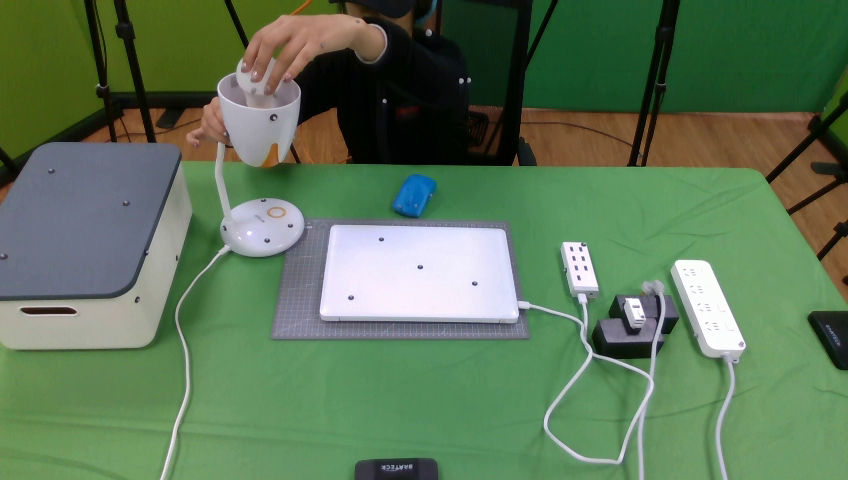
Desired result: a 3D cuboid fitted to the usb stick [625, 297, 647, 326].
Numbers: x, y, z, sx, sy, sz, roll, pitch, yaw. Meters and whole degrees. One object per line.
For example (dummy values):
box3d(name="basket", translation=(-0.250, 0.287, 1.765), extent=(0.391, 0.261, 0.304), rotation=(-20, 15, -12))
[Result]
box3d(name="usb stick", translation=(0.360, 0.116, 1.034), extent=(0.021, 0.027, 0.059), rotation=(-2, 44, -2))

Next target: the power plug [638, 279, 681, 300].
box3d(name="power plug", translation=(0.434, 0.099, 1.119), extent=(0.073, 0.053, 0.035), rotation=(34, 38, -16))

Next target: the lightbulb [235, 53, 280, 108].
box3d(name="lightbulb", translation=(-0.231, -0.208, 0.844), extent=(0.059, 0.108, 0.059), rotation=(8, 47, -8))

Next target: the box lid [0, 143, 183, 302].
box3d(name="box lid", translation=(-0.567, -0.045, 0.999), extent=(0.263, 0.015, 0.369), rotation=(-1, 46, -4))

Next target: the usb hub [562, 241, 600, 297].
box3d(name="usb hub", translation=(0.300, 0.054, 1.162), extent=(0.049, 0.025, 0.124), rotation=(2, 46, -3))

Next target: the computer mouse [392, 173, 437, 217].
box3d(name="computer mouse", translation=(-0.018, -0.098, 1.282), extent=(0.062, 0.041, 0.117), rotation=(20, 51, 13))

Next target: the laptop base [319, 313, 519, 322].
box3d(name="laptop base", translation=(-0.009, 0.062, 1.137), extent=(0.354, 0.023, 0.234), rotation=(1, 42, -3))

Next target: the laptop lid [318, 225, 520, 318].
box3d(name="laptop lid", translation=(-0.009, 0.052, 1.131), extent=(0.357, 0.013, 0.240), rotation=(2, 43, -2))

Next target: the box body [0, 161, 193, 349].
box3d(name="box body", translation=(-0.570, 0.006, 1.054), extent=(0.254, 0.161, 0.361), rotation=(-1, 46, -4))

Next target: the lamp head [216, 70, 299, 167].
box3d(name="lamp head", translation=(-0.240, -0.170, 0.876), extent=(0.112, 0.123, 0.111), rotation=(9, 45, -8))

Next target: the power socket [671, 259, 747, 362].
box3d(name="power socket", translation=(0.516, 0.119, 1.108), extent=(0.072, 0.033, 0.225), rotation=(1, 46, -2))

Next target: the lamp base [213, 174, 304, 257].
box3d(name="lamp base", translation=(-0.324, -0.074, 1.135), extent=(0.160, 0.181, 0.179), rotation=(28, 53, 24))
